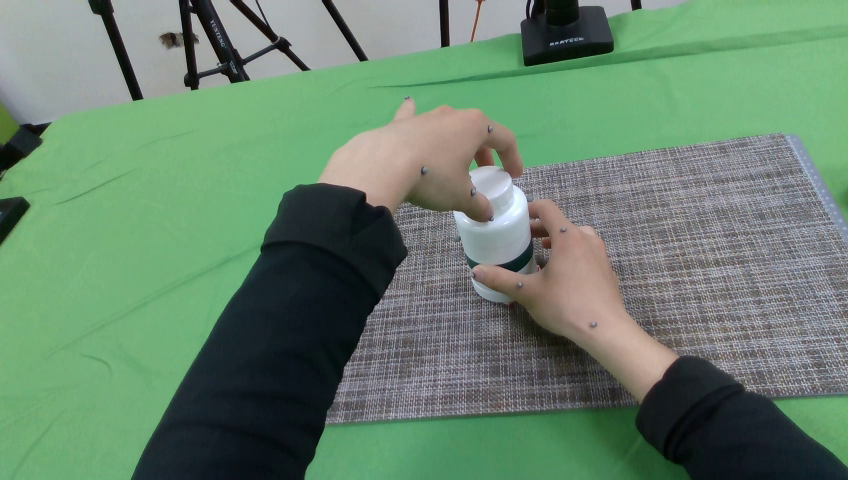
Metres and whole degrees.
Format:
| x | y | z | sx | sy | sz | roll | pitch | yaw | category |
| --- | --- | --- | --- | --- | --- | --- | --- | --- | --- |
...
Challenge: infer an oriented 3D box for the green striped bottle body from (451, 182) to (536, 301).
| x | y | z | sx | sy | sz | roll | pitch | yaw | category |
| --- | --- | --- | --- | --- | --- | --- | --- | --- | --- |
| 0.061 | -0.006 | 0.531 | 0.063 | 0.120 | 0.062 | -9 | 45 | 10 | green striped bottle body |

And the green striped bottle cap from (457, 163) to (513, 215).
| x | y | z | sx | sy | sz | roll | pitch | yaw | category |
| --- | --- | --- | --- | --- | --- | --- | --- | --- | --- |
| 0.050 | -0.042 | 0.495 | 0.044 | 0.020 | 0.044 | -8 | 46 | 9 | green striped bottle cap |
